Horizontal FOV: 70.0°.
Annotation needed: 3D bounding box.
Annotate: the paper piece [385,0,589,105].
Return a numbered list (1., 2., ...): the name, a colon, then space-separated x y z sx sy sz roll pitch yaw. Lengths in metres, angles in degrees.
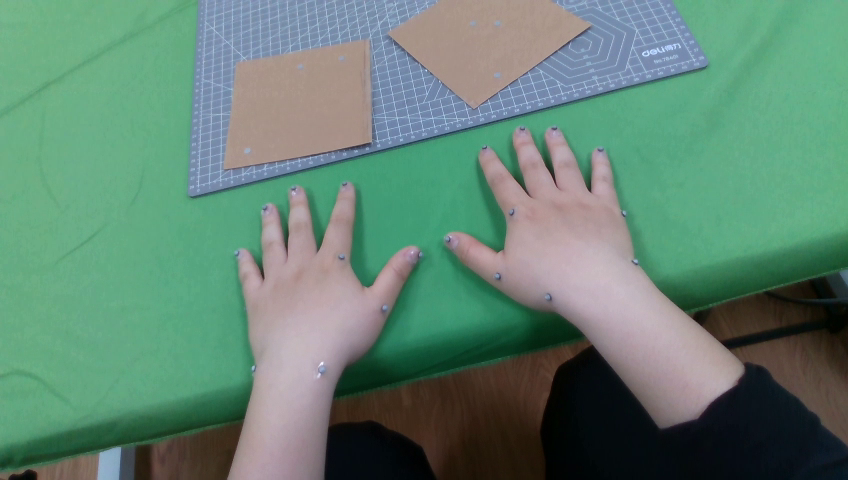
1. paper piece: 0.055 -0.195 0.558 0.135 0.004 0.134 -35 60 -11

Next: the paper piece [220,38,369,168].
1. paper piece: -0.116 -0.129 0.554 0.138 0.009 0.134 -8 55 7
